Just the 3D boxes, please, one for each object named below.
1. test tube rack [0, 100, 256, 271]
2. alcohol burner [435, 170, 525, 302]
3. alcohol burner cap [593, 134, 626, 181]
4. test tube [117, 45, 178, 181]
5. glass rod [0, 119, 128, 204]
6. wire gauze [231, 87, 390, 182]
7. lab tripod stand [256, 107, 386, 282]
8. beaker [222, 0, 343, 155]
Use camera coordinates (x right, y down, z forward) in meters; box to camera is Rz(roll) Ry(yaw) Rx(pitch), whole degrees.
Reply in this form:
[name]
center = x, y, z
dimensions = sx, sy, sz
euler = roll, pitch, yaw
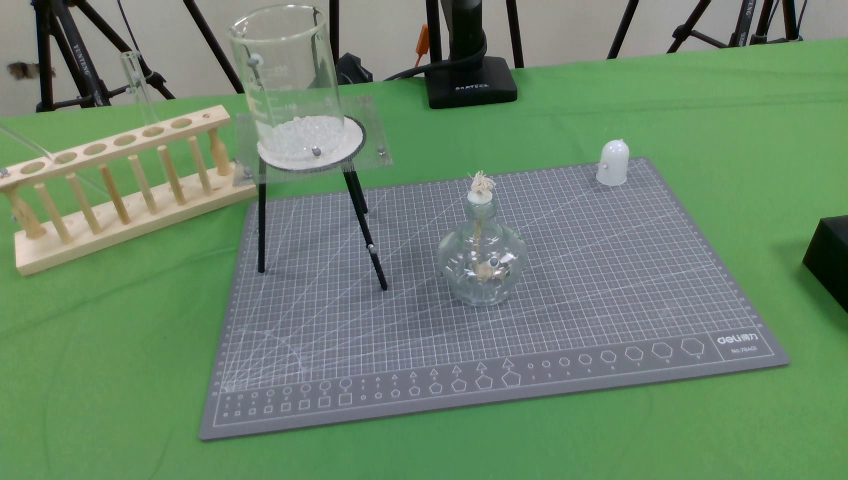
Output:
[test tube rack]
center = -0.312, -0.062, 0.633
dimensions = 0.243, 0.086, 0.066
euler = -23, 44, -20
[alcohol burner]
center = 0.047, -0.006, 0.510
dimensions = 0.078, 0.120, 0.077
euler = -3, 39, 3
[alcohol burner cap]
center = 0.199, -0.090, 0.647
dimensions = 0.034, 0.048, 0.033
euler = -2, 41, 2
[test tube]
center = -0.285, -0.126, 0.629
dimensions = 0.017, 0.151, 0.017
euler = -2, 38, 2
[glass rod]
center = -0.373, -0.089, 0.584
dimensions = 0.008, 0.202, 0.008
euler = -18, 51, 24
[wire gauze]
center = -0.097, -0.088, 0.502
dimensions = 0.125, 0.011, 0.120
euler = -12, 39, -4
[lab tripod stand]
center = -0.093, -0.039, 0.545
dimensions = 0.148, 0.133, 0.147
euler = -3, 43, 3
[beaker]
center = -0.106, -0.124, 0.469
dimensions = 0.083, 0.101, 0.073
euler = 14, 44, 22
